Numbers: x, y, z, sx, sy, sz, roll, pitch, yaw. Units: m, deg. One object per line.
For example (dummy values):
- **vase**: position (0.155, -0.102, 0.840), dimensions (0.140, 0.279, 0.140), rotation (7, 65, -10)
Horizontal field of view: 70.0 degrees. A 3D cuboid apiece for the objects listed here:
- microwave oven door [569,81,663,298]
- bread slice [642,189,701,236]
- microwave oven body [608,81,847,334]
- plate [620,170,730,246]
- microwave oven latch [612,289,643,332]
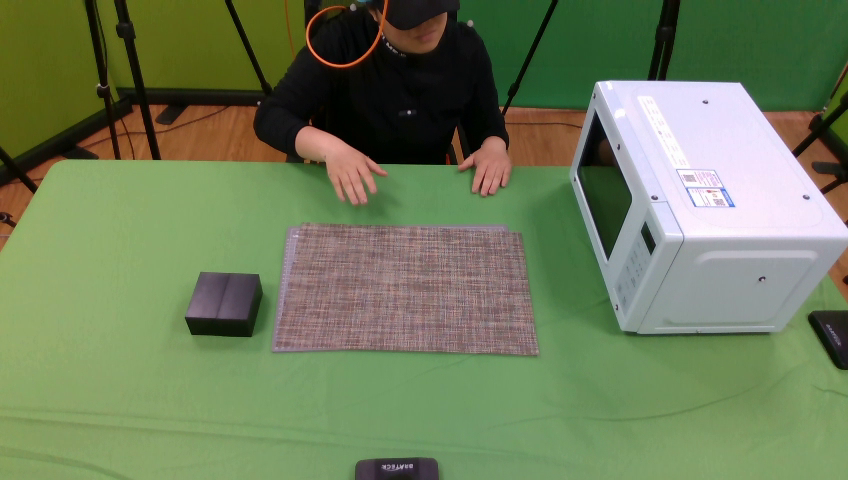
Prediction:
- **microwave oven door**: position (0.353, -0.104, 1.147), dimensions (0.039, 0.245, 0.353), rotation (0, 46, -4)
- **bread slice**: position (0.494, -0.056, 1.197), dimensions (0.105, 0.019, 0.131), rotation (6, 41, 4)
- **microwave oven body**: position (0.501, -0.070, 1.132), dimensions (0.326, 0.261, 0.438), rotation (-1, 45, -4)
- **plate**: position (0.490, -0.059, 1.194), dimensions (0.209, 0.038, 0.208), rotation (3, 45, -3)
- **microwave oven latch**: position (0.357, 0.124, 1.068), dimensions (0.030, 0.029, 0.078), rotation (0, 45, -3)
